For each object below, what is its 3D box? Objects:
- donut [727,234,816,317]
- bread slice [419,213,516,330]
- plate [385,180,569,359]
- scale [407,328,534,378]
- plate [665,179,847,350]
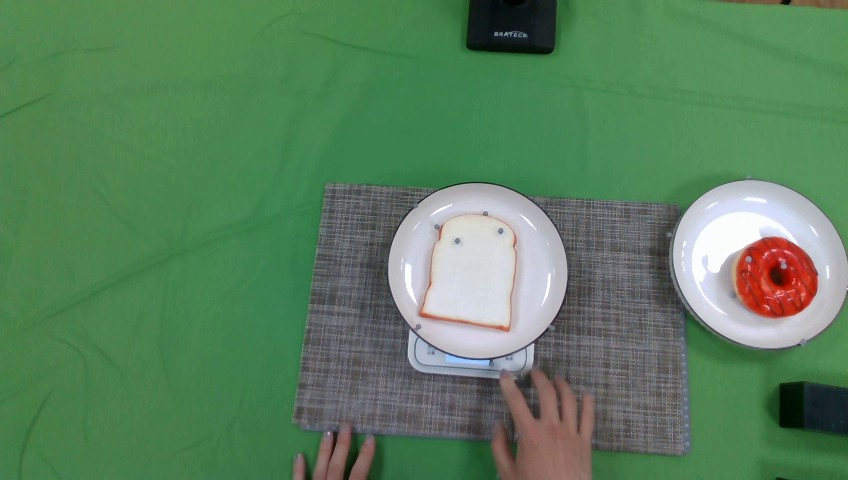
[{"bbox_3d":[0.407,0.042,0.712,0.099,0.048,0.098,0,79,0],"label":"donut"},{"bbox_3d":[0.054,0.032,0.703,0.105,0.019,0.131,8,76,2],"label":"bread slice"},{"bbox_3d":[0.060,0.033,0.700,0.209,0.038,0.208,0,76,1],"label":"plate"},{"bbox_3d":[0.060,0.060,0.727,0.148,0.032,0.200,4,76,3],"label":"scale"},{"bbox_3d":[0.392,0.030,0.728,0.208,0.039,0.206,0,75,1],"label":"plate"}]
